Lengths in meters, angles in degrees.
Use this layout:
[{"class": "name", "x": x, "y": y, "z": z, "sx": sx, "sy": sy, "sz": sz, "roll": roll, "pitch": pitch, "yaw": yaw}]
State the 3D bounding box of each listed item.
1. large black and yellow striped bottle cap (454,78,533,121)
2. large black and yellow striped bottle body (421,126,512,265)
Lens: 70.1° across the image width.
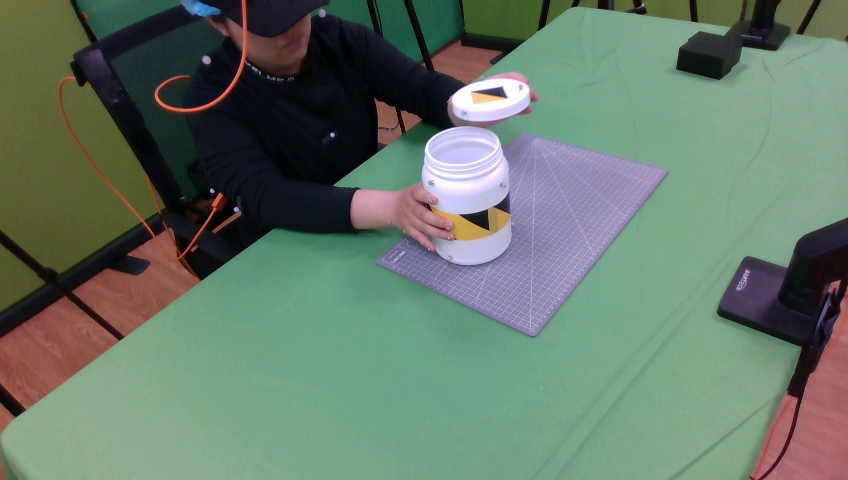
[{"class": "large black and yellow striped bottle cap", "x": 0.102, "y": -0.209, "z": 0.892, "sx": 0.115, "sy": 0.019, "sz": 0.114, "roll": -9, "pitch": 35, "yaw": 7}, {"class": "large black and yellow striped bottle body", "x": 0.066, "y": -0.068, "z": 0.920, "sx": 0.131, "sy": 0.185, "sz": 0.130, "roll": -5, "pitch": 40, "yaw": 5}]
